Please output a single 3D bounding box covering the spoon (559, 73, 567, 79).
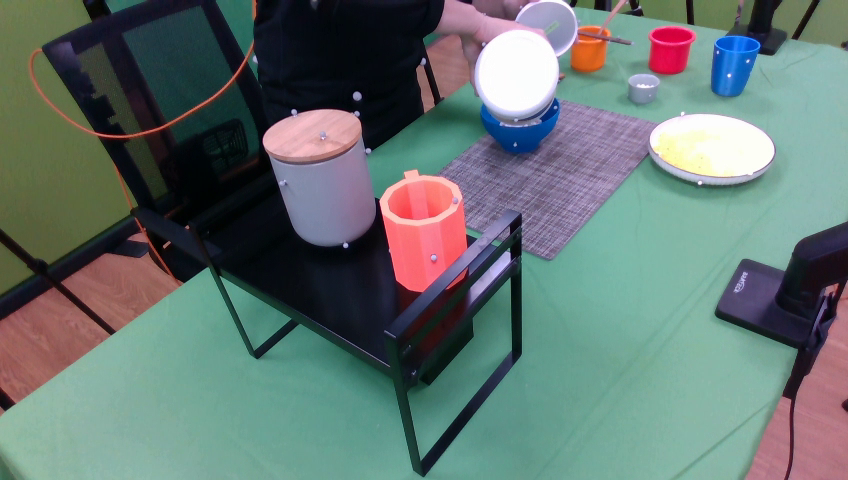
[{"bbox_3d":[0.250,-0.337,1.332,0.194,0.022,0.041,-32,32,-25],"label":"spoon"}]

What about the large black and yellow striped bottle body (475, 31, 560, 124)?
[{"bbox_3d":[0.160,-0.266,1.019,0.130,0.130,0.184,1,5,11],"label":"large black and yellow striped bottle body"}]

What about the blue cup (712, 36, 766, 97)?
[{"bbox_3d":[0.627,-0.350,1.227,0.092,0.100,0.092,-4,39,4],"label":"blue cup"}]

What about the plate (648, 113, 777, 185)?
[{"bbox_3d":[0.506,-0.158,1.073,0.209,0.038,0.208,-5,40,4],"label":"plate"}]

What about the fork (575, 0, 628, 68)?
[{"bbox_3d":[0.413,-0.481,1.377,0.207,0.019,0.028,-57,43,12],"label":"fork"}]

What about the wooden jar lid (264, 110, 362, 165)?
[{"bbox_3d":[-0.122,-0.112,0.673,0.108,0.021,0.108,-4,37,4],"label":"wooden jar lid"}]

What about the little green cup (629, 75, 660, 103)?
[{"bbox_3d":[0.458,-0.314,1.260,0.061,0.039,0.061,-4,40,4],"label":"little green cup"}]

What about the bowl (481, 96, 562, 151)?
[{"bbox_3d":[0.187,-0.223,1.161,0.151,0.077,0.150,-4,40,4],"label":"bowl"}]

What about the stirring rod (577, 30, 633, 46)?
[{"bbox_3d":[0.382,-0.453,1.345,0.174,0.006,0.014,27,53,33],"label":"stirring rod"}]

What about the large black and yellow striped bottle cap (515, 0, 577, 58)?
[{"bbox_3d":[0.225,-0.387,1.118,0.115,0.115,0.018,-1,48,8],"label":"large black and yellow striped bottle cap"}]

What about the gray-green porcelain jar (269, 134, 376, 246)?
[{"bbox_3d":[-0.115,-0.064,0.715,0.106,0.127,0.105,-4,40,4],"label":"gray-green porcelain jar"}]

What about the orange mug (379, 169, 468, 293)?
[{"bbox_3d":[-0.002,-0.019,0.665,0.083,0.101,0.125,-12,45,-4],"label":"orange mug"}]
